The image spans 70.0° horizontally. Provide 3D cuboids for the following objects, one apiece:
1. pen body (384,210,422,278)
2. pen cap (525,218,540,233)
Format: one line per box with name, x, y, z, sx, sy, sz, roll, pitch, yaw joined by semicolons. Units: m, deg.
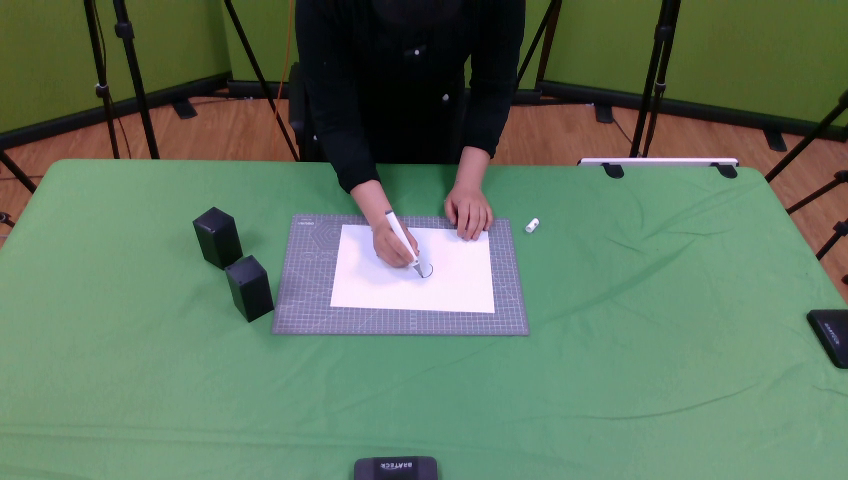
pen body;-0.036;0.010;1.122;0.017;0.144;0.017;-26;13;7
pen cap;0.224;-0.031;1.248;0.017;0.017;0.038;30;51;23
